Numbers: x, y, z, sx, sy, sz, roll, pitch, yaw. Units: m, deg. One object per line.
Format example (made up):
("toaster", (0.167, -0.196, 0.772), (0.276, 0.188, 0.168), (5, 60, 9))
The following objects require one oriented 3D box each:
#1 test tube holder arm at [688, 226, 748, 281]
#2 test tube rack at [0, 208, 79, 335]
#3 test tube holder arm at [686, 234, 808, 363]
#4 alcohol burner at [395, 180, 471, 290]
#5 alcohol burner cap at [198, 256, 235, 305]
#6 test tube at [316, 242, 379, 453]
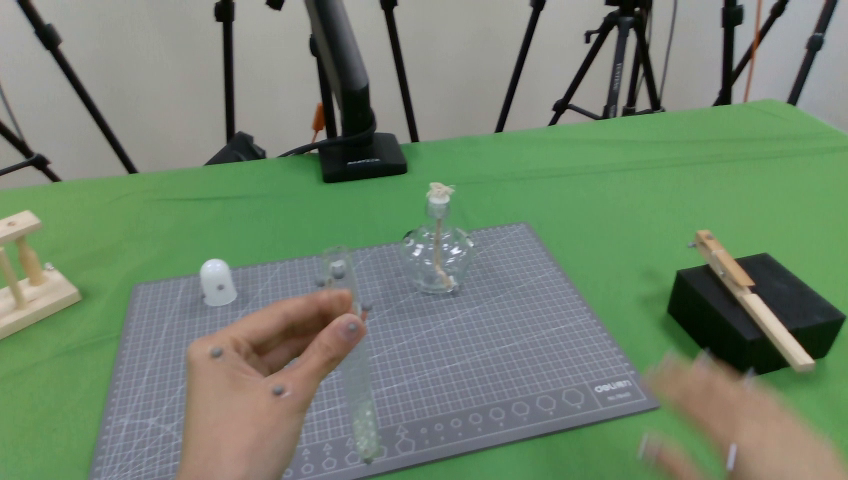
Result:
("test tube holder arm", (0.275, 0.014, 0.569), (0.015, 0.010, 0.087), (-3, 35, -4))
("test tube rack", (-0.464, 0.065, 0.551), (0.066, 0.086, 0.242), (26, 43, 33))
("test tube holder arm", (0.279, 0.043, 0.535), (0.015, 0.013, 0.176), (-4, 34, -4))
("alcohol burner", (0.010, -0.009, 0.615), (0.078, 0.120, 0.077), (1, 34, 0))
("alcohol burner cap", (-0.214, 0.039, 0.616), (0.034, 0.048, 0.033), (-1, 34, 1))
("test tube", (-0.041, 0.067, 0.340), (0.017, 0.151, 0.017), (-3, 32, 2))
